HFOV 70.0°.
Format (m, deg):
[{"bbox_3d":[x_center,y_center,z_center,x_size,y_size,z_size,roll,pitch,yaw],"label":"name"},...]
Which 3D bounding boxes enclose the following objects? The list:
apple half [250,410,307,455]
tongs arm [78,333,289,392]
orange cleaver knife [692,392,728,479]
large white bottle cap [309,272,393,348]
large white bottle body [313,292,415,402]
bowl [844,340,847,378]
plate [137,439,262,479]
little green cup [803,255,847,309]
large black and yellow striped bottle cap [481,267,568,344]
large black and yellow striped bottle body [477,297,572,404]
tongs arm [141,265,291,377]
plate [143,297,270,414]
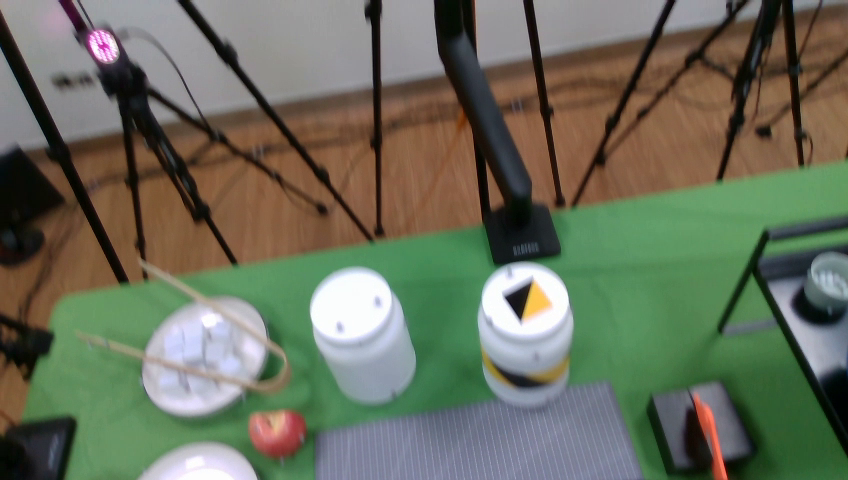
[{"bbox_3d":[-0.213,0.285,0.884,0.081,0.075,0.053,-5,56,0],"label":"apple half"},{"bbox_3d":[-0.393,0.184,0.969,0.383,0.027,0.050,12,52,20],"label":"tongs arm"},{"bbox_3d":[0.380,0.302,0.776,0.012,0.077,0.210,-14,78,9],"label":"orange cleaver knife"},{"bbox_3d":[-0.101,0.095,0.833,0.115,0.018,0.113,-5,52,6],"label":"large white bottle cap"},{"bbox_3d":[-0.089,0.147,0.900,0.130,0.186,0.129,-4,52,6],"label":"large white bottle body"},{"bbox_3d":[0.521,0.151,0.644,0.151,0.077,0.150,-4,52,6],"label":"bowl"},{"bbox_3d":[-0.320,0.386,0.844,0.209,0.038,0.207,-4,53,6],"label":"plate"},{"bbox_3d":[0.501,0.054,0.745,0.061,0.039,0.061,-5,52,6],"label":"little green cup"},{"bbox_3d":[0.133,0.085,0.805,0.115,0.019,0.114,-4,51,5],"label":"large black and yellow striped bottle cap"},{"bbox_3d":[0.144,0.139,0.869,0.130,0.186,0.129,-5,50,6],"label":"large black and yellow striped bottle body"},{"bbox_3d":[-0.356,0.123,1.013,0.384,0.028,0.028,24,54,27],"label":"tongs arm"},{"bbox_3d":[-0.353,0.191,0.999,0.207,0.039,0.205,-4,53,6],"label":"plate"}]
